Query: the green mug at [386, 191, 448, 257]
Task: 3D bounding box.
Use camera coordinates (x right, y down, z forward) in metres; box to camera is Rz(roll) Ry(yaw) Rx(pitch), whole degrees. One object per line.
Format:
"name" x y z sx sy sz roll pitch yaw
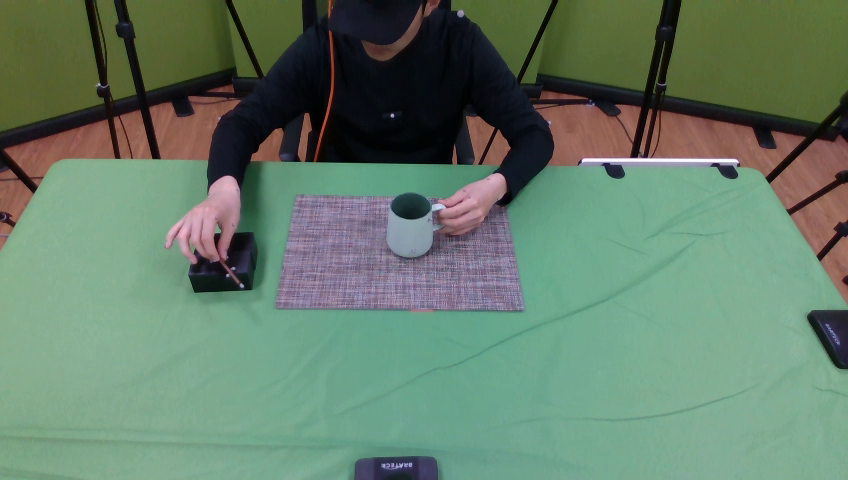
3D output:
"green mug" -0.012 -0.034 1.165 0.125 0.105 0.092 -17 49 -19

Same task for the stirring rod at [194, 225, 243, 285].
"stirring rod" -0.367 0.025 1.077 0.006 0.014 0.175 -48 59 1
